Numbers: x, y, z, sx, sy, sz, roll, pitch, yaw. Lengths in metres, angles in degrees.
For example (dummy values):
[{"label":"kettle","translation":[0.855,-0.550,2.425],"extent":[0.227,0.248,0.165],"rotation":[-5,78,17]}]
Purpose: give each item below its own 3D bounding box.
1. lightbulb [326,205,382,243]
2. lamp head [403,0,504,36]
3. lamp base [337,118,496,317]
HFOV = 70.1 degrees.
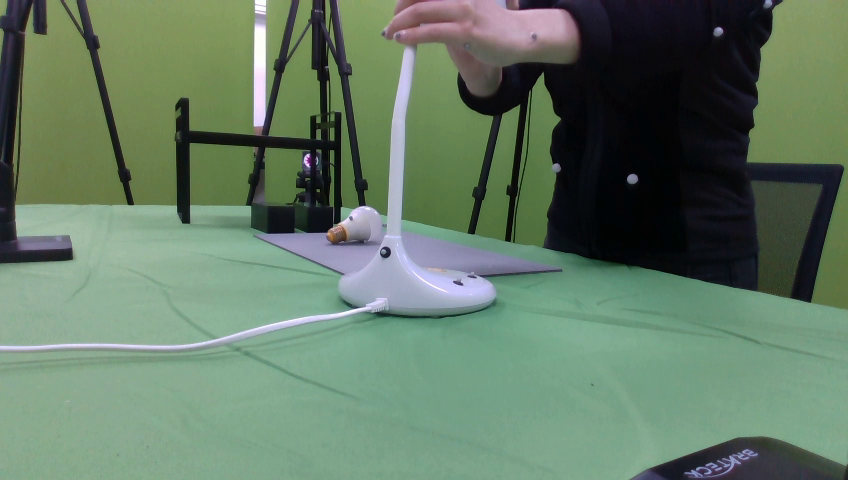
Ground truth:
[{"label":"lightbulb","translation":[-0.117,-0.021,0.999],"extent":[0.059,0.059,0.108],"rotation":[10,25,43]},{"label":"lamp head","translation":[0.023,-0.291,0.642],"extent":[0.112,0.123,0.112],"rotation":[-9,44,9]},{"label":"lamp base","translation":[-0.008,-0.025,0.588],"extent":[0.160,0.180,0.179],"rotation":[4,10,15]}]
